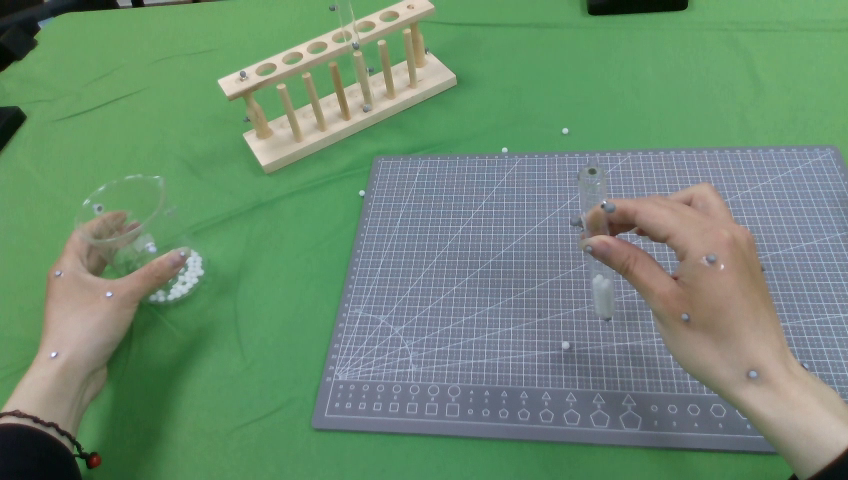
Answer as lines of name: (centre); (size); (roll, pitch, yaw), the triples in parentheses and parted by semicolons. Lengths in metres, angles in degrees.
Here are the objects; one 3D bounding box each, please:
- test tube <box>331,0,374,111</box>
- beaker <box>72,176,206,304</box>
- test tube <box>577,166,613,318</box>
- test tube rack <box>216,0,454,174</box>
test tube: (-0.074, -0.196, 0.623); (0.017, 0.152, 0.017); (-5, 50, 6)
beaker: (-0.243, 0.002, 0.535); (0.073, 0.101, 0.083); (21, 58, 25)
test tube: (0.114, 0.009, 0.397); (0.017, 0.152, 0.017); (-10, 50, 12)
test tube rack: (-0.090, -0.173, 0.664); (0.242, 0.086, 0.066); (-28, 53, -13)
